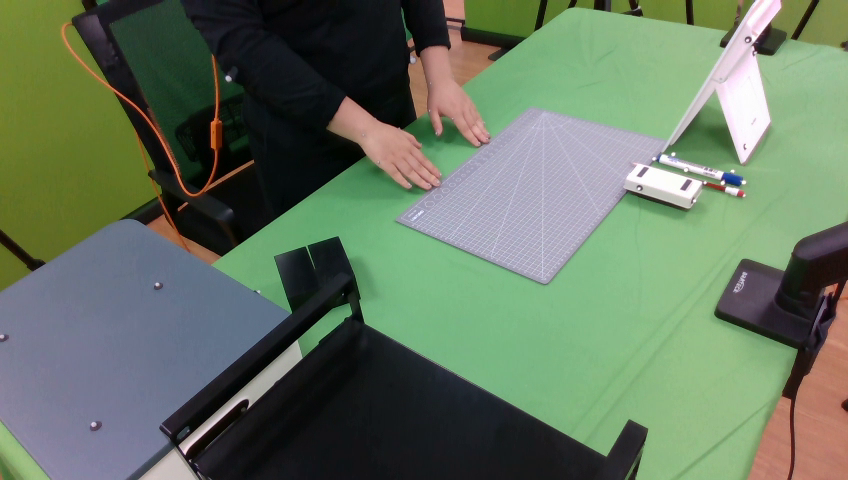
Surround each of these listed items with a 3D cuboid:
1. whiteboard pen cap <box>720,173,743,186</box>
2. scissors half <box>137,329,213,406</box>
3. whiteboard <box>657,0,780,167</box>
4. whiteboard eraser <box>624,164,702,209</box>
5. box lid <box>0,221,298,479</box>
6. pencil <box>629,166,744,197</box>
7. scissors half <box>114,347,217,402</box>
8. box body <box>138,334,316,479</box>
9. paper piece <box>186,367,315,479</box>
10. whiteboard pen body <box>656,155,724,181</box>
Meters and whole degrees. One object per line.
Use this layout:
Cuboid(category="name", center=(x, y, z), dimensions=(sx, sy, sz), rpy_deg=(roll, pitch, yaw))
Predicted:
Cuboid(category="whiteboard pen cap", center=(0.518, -0.103, 1.020), dimensions=(0.033, 0.018, 0.018), rpy_deg=(23, 49, 30))
Cuboid(category="scissors half", center=(-0.336, 0.173, 0.824), dimensions=(0.040, 0.013, 0.174), rpy_deg=(-35, 54, -30))
Cuboid(category="whiteboard", center=(0.571, -0.272, 1.038), dimensions=(0.143, 0.306, 0.218), rpy_deg=(37, 54, 17))
Cuboid(category="whiteboard eraser", center=(0.396, -0.087, 1.003), dimensions=(0.112, 0.042, 0.056), rpy_deg=(22, 47, 31))
Cuboid(category="box lid", center=(-0.346, 0.106, 0.679), dimensions=(0.368, 0.015, 0.264), rpy_deg=(23, 49, 31))
Cuboid(category="pencil", center=(0.447, -0.103, 1.038), dimensions=(0.192, 0.012, 0.012), rpy_deg=(21, 48, 30))
Cuboid(category="scissors half", center=(-0.349, 0.185, 0.812), dimensions=(0.174, 0.013, 0.040), rpy_deg=(16, 52, 18))
Cuboid(category="box body", center=(-0.340, 0.162, 0.728), dimensions=(0.361, 0.161, 0.255), rpy_deg=(23, 48, 31))
Cuboid(category="paper piece", center=(-0.222, 0.234, 0.757), dimensions=(0.136, 0.009, 0.137), rpy_deg=(-38, 35, -23))
Cuboid(category="whiteboard pen body", center=(0.475, -0.123, 1.052), dimensions=(0.139, 0.017, 0.017), rpy_deg=(24, 49, 32))
